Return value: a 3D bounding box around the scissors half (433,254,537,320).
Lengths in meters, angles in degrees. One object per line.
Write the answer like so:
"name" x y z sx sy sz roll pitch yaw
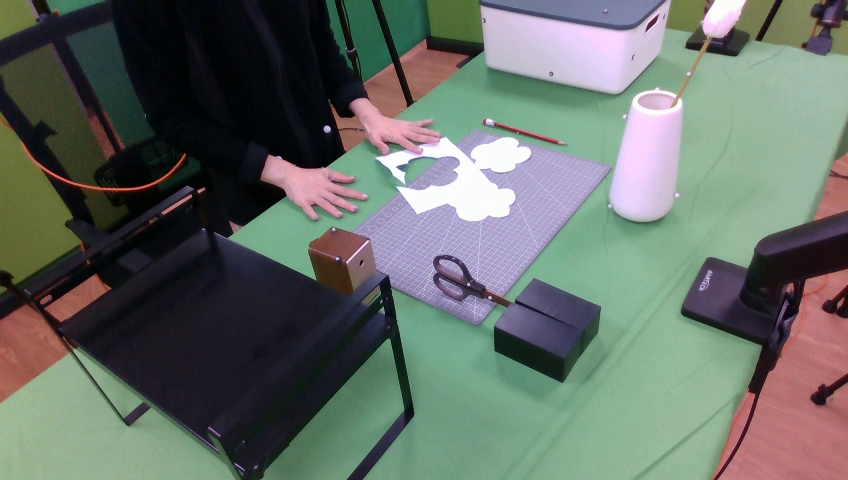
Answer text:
"scissors half" 0.083 0.065 0.827 0.174 0.040 0.013 31 51 23

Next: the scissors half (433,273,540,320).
"scissors half" 0.084 0.081 0.839 0.174 0.040 0.013 17 39 36

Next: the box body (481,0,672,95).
"box body" 0.341 -0.480 1.381 0.361 0.161 0.255 22 48 30

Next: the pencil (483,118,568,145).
"pencil" 0.201 -0.217 1.212 0.192 0.012 0.012 24 49 29

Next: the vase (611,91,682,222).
"vase" 0.348 -0.125 0.935 0.098 0.201 0.097 -3 40 3

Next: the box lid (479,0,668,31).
"box lid" 0.335 -0.536 1.331 0.368 0.015 0.264 23 49 30

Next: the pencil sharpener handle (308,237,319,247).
"pencil sharpener handle" -0.159 0.018 0.892 0.030 0.068 0.036 18 60 28

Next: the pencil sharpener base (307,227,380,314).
"pencil sharpener base" -0.116 0.043 0.875 0.076 0.107 0.061 18 47 28

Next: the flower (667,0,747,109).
"flower" 0.354 -0.187 0.879 0.038 0.362 0.044 31 48 14
